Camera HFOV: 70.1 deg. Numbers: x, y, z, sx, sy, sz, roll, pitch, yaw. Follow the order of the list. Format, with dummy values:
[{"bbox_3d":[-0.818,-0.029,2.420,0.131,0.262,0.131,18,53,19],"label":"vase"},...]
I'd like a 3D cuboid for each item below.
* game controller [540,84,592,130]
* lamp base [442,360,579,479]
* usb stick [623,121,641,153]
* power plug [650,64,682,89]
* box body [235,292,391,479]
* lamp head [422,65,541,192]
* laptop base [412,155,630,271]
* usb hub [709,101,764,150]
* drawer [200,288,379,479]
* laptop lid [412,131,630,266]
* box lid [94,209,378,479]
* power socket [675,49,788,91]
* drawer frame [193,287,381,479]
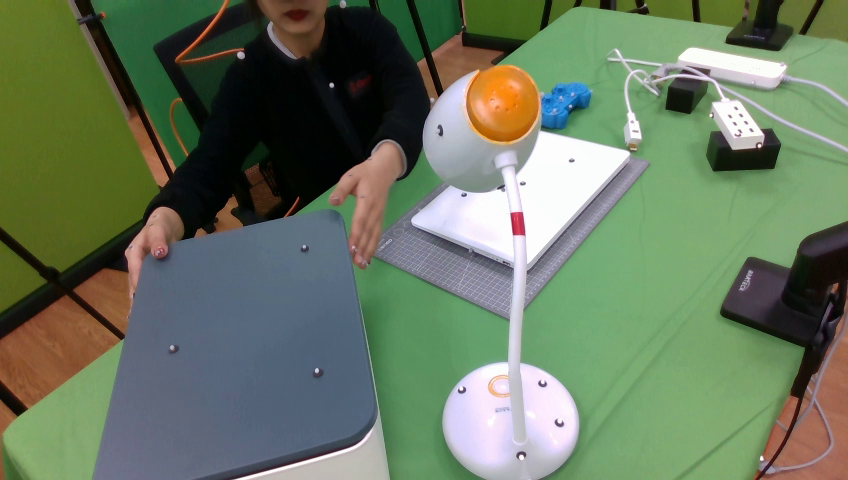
[{"bbox_3d":[0.277,-0.282,1.251,0.096,0.052,0.155,27,52,31],"label":"game controller"},{"bbox_3d":[0.094,0.158,0.657,0.161,0.181,0.178,-14,42,-5],"label":"lamp base"},{"bbox_3d":[0.389,-0.191,1.129,0.021,0.027,0.059,7,62,-8],"label":"usb stick"},{"bbox_3d":[0.498,-0.341,1.263,0.035,0.052,0.072,20,10,-7],"label":"power plug"},{"bbox_3d":[-0.190,0.161,0.723,0.255,0.161,0.361,-13,40,-5],"label":"box body"},{"bbox_3d":[0.060,-0.106,0.560,0.113,0.112,0.122,-16,0,-8],"label":"lamp head"},{"bbox_3d":[0.176,-0.085,1.056,0.233,0.023,0.355,20,48,36],"label":"laptop base"},{"bbox_3d":[0.534,-0.199,1.040,0.049,0.025,0.124,-5,39,8],"label":"usb hub"},{"bbox_3d":[-0.172,0.176,0.760,0.195,0.073,0.210,-13,42,-8],"label":"drawer"},{"bbox_3d":[0.172,-0.094,1.050,0.239,0.013,0.358,23,49,36],"label":"laptop lid"},{"bbox_3d":[-0.202,0.094,0.680,0.264,0.015,0.368,-13,39,-5],"label":"box lid"},{"bbox_3d":[0.647,-0.363,1.284,0.225,0.033,0.072,26,52,35],"label":"power socket"},{"bbox_3d":[-0.172,0.176,0.755,0.202,0.083,0.212,-14,42,-7],"label":"drawer frame"}]
